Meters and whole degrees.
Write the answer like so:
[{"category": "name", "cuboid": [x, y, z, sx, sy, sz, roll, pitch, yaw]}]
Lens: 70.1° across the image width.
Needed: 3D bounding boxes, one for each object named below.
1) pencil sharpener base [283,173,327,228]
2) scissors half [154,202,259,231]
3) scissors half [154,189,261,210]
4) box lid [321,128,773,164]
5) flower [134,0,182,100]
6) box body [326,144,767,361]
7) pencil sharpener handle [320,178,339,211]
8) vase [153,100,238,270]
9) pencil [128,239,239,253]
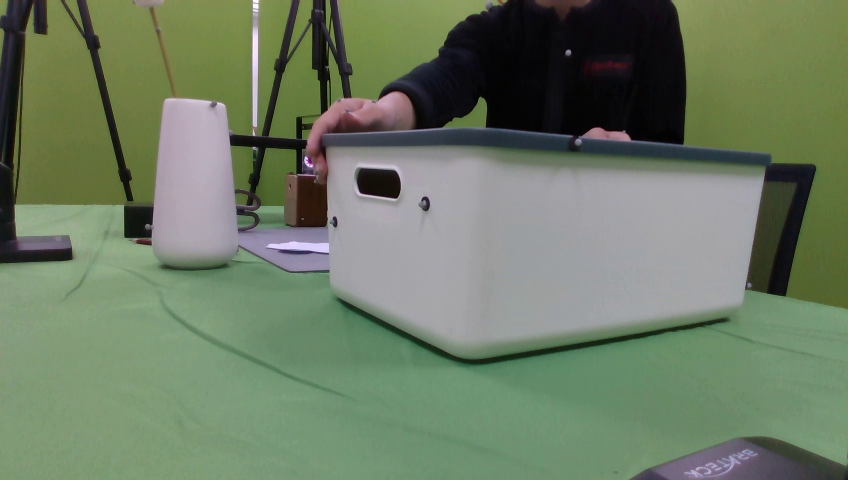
[{"category": "pencil sharpener base", "cuboid": [-0.239, -0.081, 1.231, 0.077, 0.107, 0.061, -2, 8, -36]}, {"category": "scissors half", "cuboid": [-0.375, -0.046, 1.051, 0.176, 0.040, 0.013, 13, -2, -28]}, {"category": "scissors half", "cuboid": [-0.373, -0.066, 1.049, 0.176, 0.040, 0.012, -6, 13, -27]}, {"category": "box lid", "cuboid": [0.113, -0.084, 0.573, 0.373, 0.015, 0.262, -2, 8, -33]}, {"category": "flower", "cuboid": [-0.282, -0.146, 0.712, 0.038, 0.362, 0.044, -23, 24, -32]}, {"category": "box body", "cuboid": [0.111, -0.011, 0.583, 0.366, 0.160, 0.253, -2, 9, -33]}, {"category": "pencil sharpener handle", "cuboid": [-0.194, -0.094, 1.256, 0.031, 0.067, 0.036, -2, -6, -36]}, {"category": "vase", "cuboid": [-0.278, -0.066, 0.736, 0.098, 0.200, 0.098, 2, 8, 0]}, {"category": "pencil", "cuboid": [-0.350, 0.008, 0.873, 0.193, 0.012, 0.012, 4, 8, 18]}]
